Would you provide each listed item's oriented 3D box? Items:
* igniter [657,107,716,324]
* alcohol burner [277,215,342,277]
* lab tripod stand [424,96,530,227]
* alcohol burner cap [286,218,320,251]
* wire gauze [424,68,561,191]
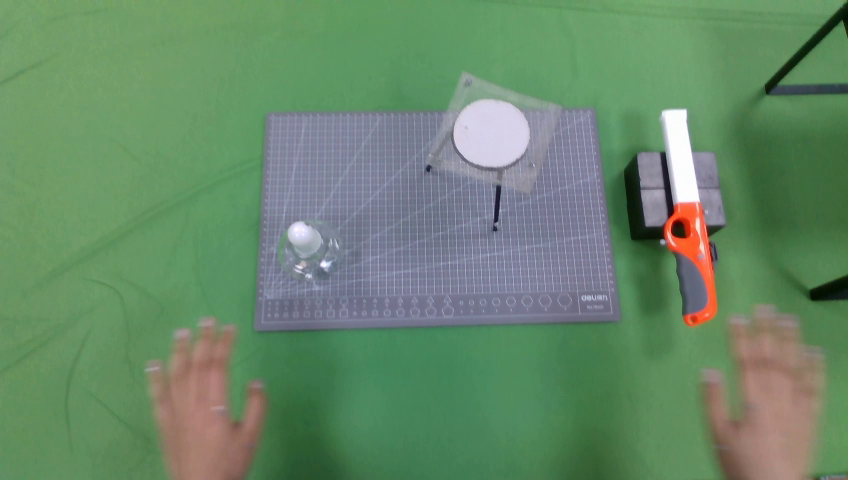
[{"bbox_3d":[0.315,-0.036,0.733,0.057,0.025,0.275,-2,72,4],"label":"igniter"},{"bbox_3d":[-0.136,0.003,0.708,0.078,0.119,0.077,1,74,-3],"label":"alcohol burner"},{"bbox_3d":[0.074,-0.106,0.737,0.148,0.132,0.147,1,71,-1],"label":"lab tripod stand"},{"bbox_3d":[-0.137,-0.009,0.674,0.034,0.048,0.033,0,75,1],"label":"alcohol burner cap"},{"bbox_3d":[0.078,-0.123,0.672,0.121,0.011,0.124,21,72,4],"label":"wire gauze"}]
